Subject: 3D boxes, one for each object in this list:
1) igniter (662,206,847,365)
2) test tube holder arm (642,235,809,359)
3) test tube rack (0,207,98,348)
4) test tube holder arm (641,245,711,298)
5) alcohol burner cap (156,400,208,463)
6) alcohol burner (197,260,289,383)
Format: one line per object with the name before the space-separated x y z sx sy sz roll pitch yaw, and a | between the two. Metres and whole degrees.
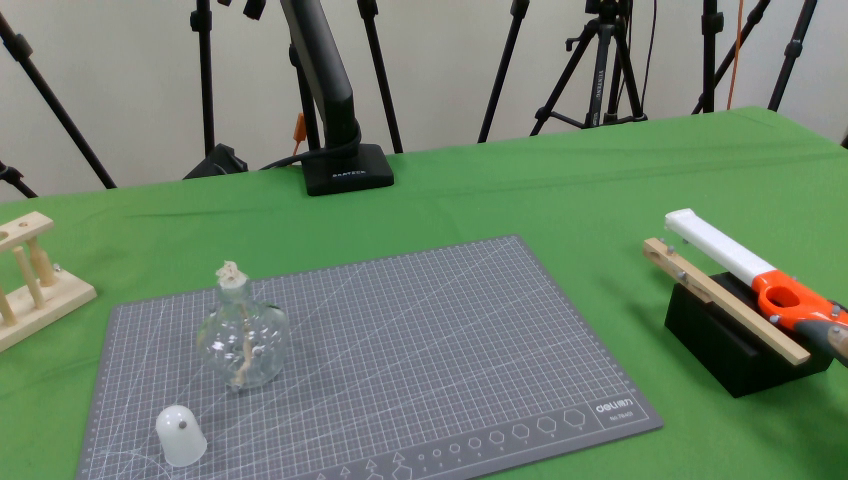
igniter | 0.309 0.039 0.542 0.057 0.025 0.273 -15 33 -12
test tube holder arm | 0.256 0.044 0.533 0.015 0.013 0.176 -19 36 -15
test tube rack | -0.438 0.067 0.548 0.066 0.086 0.242 20 39 28
test tube holder arm | 0.239 0.027 0.572 0.015 0.010 0.087 -19 35 -15
alcohol burner cap | -0.187 0.143 0.464 0.034 0.048 0.033 0 34 0
alcohol burner | -0.156 0.064 0.515 0.078 0.120 0.077 1 35 0
